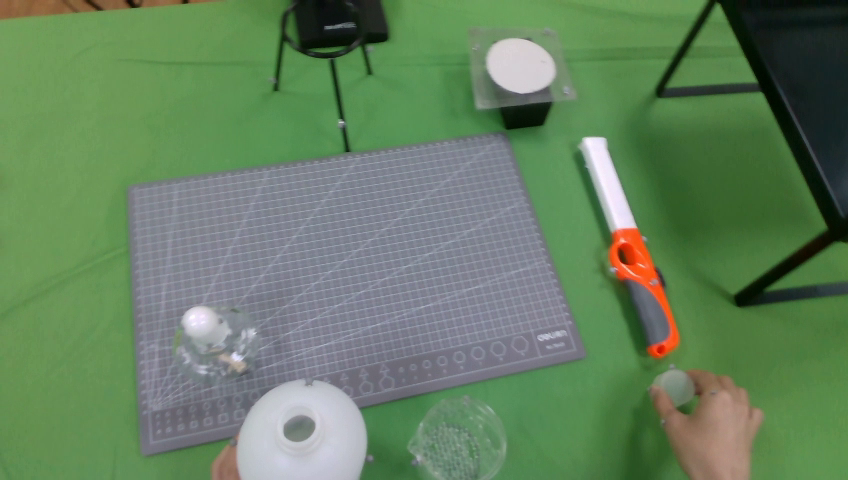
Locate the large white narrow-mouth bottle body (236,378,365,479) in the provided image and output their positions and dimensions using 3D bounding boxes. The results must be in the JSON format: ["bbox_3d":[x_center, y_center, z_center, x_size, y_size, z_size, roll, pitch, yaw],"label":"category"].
[{"bbox_3d":[-0.098,0.167,0.488,0.102,0.196,0.101,3,61,-6],"label":"large white narrow-mouth bottle body"}]

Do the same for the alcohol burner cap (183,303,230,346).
[{"bbox_3d":[-0.191,0.072,0.528,0.034,0.048,0.033,1,70,-3],"label":"alcohol burner cap"}]

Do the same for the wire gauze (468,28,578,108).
[{"bbox_3d":[0.119,-0.215,0.747,0.122,0.011,0.124,-3,64,-7],"label":"wire gauze"}]

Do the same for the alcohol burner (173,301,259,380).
[{"bbox_3d":[-0.195,0.087,0.561,0.078,0.120,0.077,3,62,-6],"label":"alcohol burner"}]

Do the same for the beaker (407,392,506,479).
[{"bbox_3d":[0.024,0.186,0.548,0.084,0.101,0.073,-4,64,-7],"label":"beaker"}]

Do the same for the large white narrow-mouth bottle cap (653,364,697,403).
[{"bbox_3d":[0.254,0.146,0.617,0.038,0.024,0.037,2,63,-4],"label":"large white narrow-mouth bottle cap"}]

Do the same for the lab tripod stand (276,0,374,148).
[{"bbox_3d":[-0.106,-0.201,0.701,0.149,0.132,0.147,3,64,-6],"label":"lab tripod stand"}]

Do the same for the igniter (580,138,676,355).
[{"bbox_3d":[0.233,-0.001,0.700,0.057,0.025,0.274,-2,64,-18],"label":"igniter"}]
